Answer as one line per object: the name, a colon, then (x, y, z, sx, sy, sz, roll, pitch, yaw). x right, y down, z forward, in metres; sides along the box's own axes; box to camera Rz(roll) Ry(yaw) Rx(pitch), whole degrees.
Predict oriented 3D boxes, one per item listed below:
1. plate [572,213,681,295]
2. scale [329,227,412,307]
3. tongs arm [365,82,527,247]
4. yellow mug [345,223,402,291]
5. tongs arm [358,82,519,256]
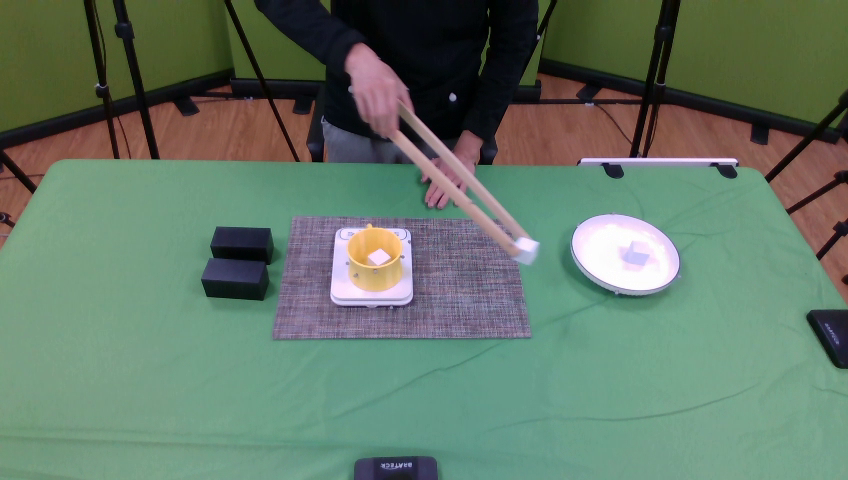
plate: (0.392, 0.030, 1.189, 0.208, 0.039, 0.206, 2, 46, -2)
scale: (-0.099, 0.042, 1.139, 0.149, 0.032, 0.199, 1, 46, -4)
tongs arm: (0.038, -0.133, 1.046, 0.387, 0.028, 0.028, 47, 56, 5)
yellow mug: (-0.092, 0.022, 1.093, 0.100, 0.064, 0.130, -8, 46, -10)
tongs arm: (0.025, -0.122, 1.033, 0.384, 0.026, 0.050, 43, 53, 2)
